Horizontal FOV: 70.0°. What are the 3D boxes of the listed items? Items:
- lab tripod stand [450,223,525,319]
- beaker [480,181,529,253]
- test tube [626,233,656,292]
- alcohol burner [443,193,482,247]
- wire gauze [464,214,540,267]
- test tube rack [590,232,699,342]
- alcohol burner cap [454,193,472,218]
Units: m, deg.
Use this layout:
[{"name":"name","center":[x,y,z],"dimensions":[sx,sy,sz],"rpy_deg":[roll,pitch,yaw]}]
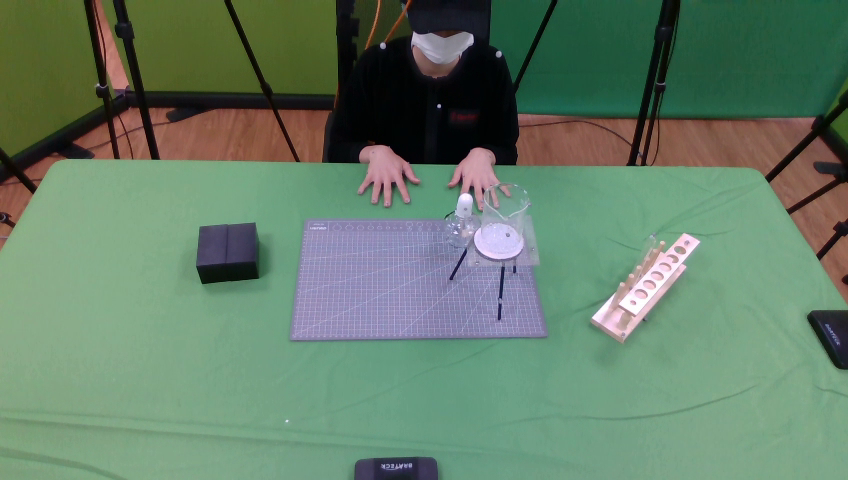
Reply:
[{"name":"lab tripod stand","center":[0.120,0.046,1.080],"dimensions":[0.148,0.132,0.147],"rpy_deg":[1,47,-1]},{"name":"beaker","center":[0.130,-0.033,0.998],"dimensions":[0.074,0.101,0.083],"rpy_deg":[5,47,4]},{"name":"test tube","center":[0.384,0.042,1.079],"dimensions":[0.017,0.151,0.017],"rpy_deg":[1,47,-1]},{"name":"alcohol burner","center":[0.075,-0.044,1.177],"dimensions":[0.078,0.120,0.077],"rpy_deg":[1,44,-1]},{"name":"wire gauze","center":[0.131,-0.001,1.035],"dimensions":[0.121,0.011,0.124],"rpy_deg":[1,44,-3]},{"name":"test tube rack","center":[0.407,0.074,1.112],"dimensions":[0.066,0.085,0.242],"rpy_deg":[35,53,26]},{"name":"alcohol burner cap","center":[0.076,-0.068,1.151],"dimensions":[0.034,0.048,0.033],"rpy_deg":[4,46,-3]}]
